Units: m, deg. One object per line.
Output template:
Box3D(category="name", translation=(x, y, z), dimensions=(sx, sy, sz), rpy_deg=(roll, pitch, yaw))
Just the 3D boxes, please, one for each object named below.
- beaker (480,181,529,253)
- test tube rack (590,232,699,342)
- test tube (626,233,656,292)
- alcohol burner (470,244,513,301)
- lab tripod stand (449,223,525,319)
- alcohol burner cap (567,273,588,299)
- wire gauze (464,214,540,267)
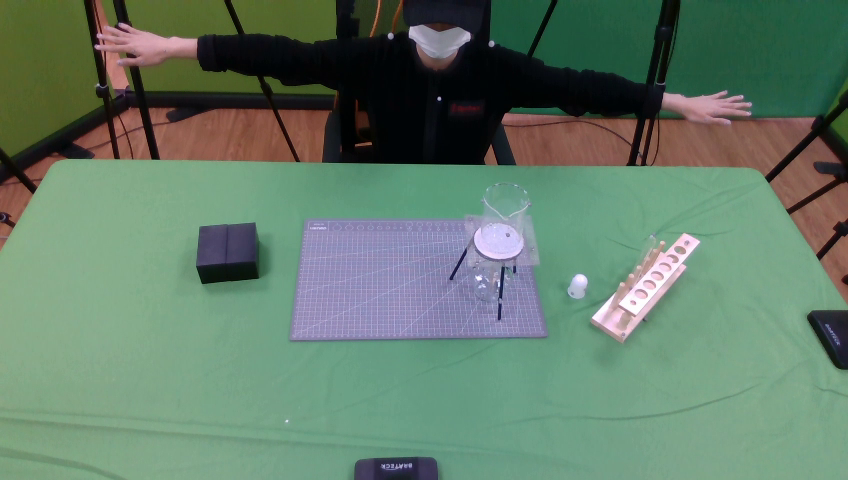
Box3D(category="beaker", translation=(0.130, -0.033, 0.998), dimensions=(0.074, 0.101, 0.083), rpy_deg=(5, 47, 4))
Box3D(category="test tube rack", translation=(0.407, 0.074, 1.112), dimensions=(0.066, 0.085, 0.242), rpy_deg=(35, 53, 26))
Box3D(category="test tube", translation=(0.384, 0.042, 1.079), dimensions=(0.017, 0.151, 0.017), rpy_deg=(1, 47, -1))
Box3D(category="alcohol burner", translation=(0.122, 0.054, 1.087), dimensions=(0.078, 0.120, 0.077), rpy_deg=(1, 45, -1))
Box3D(category="lab tripod stand", translation=(0.120, 0.046, 1.080), dimensions=(0.148, 0.132, 0.147), rpy_deg=(1, 47, -1))
Box3D(category="alcohol burner cap", translation=(0.287, 0.083, 1.125), dimensions=(0.034, 0.048, 0.033), rpy_deg=(2, 45, -1))
Box3D(category="wire gauze", translation=(0.131, -0.001, 1.034), dimensions=(0.121, 0.011, 0.124), rpy_deg=(1, 44, -2))
